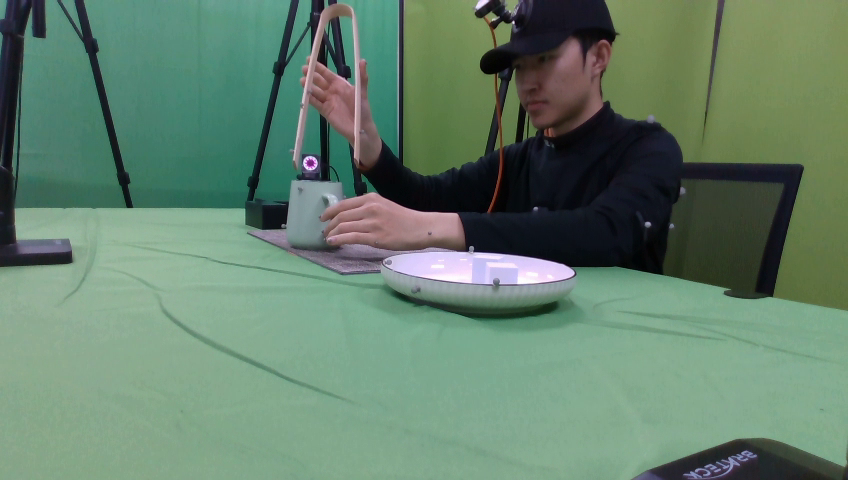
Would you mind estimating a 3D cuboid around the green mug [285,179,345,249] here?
[{"bbox_3d":[-0.161,-0.040,0.936,0.093,0.105,0.124,-2,8,-32],"label":"green mug"}]

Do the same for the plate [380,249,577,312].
[{"bbox_3d":[0.056,0.042,0.646,0.209,0.038,0.209,2,7,0],"label":"plate"}]

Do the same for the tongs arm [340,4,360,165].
[{"bbox_3d":[-0.126,-0.280,1.038,0.028,0.386,0.028,-10,-34,5],"label":"tongs arm"}]

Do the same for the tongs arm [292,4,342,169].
[{"bbox_3d":[-0.180,-0.277,1.041,0.051,0.384,0.026,-4,-34,5],"label":"tongs arm"}]
